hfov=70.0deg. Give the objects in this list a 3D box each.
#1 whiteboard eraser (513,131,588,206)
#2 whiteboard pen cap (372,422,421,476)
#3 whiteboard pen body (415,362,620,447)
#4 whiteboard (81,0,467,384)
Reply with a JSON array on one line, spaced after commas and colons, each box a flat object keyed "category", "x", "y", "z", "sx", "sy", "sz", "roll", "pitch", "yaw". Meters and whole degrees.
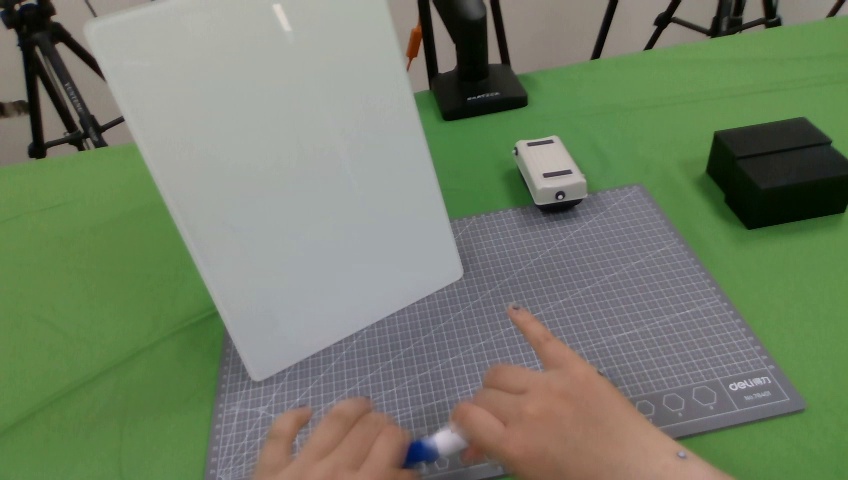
[{"category": "whiteboard eraser", "x": 0.138, "y": -0.079, "z": 0.670, "sx": 0.055, "sy": 0.042, "sz": 0.111, "roll": -11, "pitch": 37, "yaw": 0}, {"category": "whiteboard pen cap", "x": -0.018, "y": 0.133, "z": 0.383, "sx": 0.018, "sy": 0.018, "sz": 0.033, "roll": 19, "pitch": 51, "yaw": 29}, {"category": "whiteboard pen body", "x": 0.058, "y": 0.108, "z": 0.390, "sx": 0.141, "sy": 0.017, "sz": 0.017, "roll": -21, "pitch": 41, "yaw": 2}, {"category": "whiteboard", "x": -0.120, "y": -0.072, "z": 0.548, "sx": 0.217, "sy": 0.308, "sz": 0.142, "roll": -26, "pitch": 24, "yaw": -18}]
